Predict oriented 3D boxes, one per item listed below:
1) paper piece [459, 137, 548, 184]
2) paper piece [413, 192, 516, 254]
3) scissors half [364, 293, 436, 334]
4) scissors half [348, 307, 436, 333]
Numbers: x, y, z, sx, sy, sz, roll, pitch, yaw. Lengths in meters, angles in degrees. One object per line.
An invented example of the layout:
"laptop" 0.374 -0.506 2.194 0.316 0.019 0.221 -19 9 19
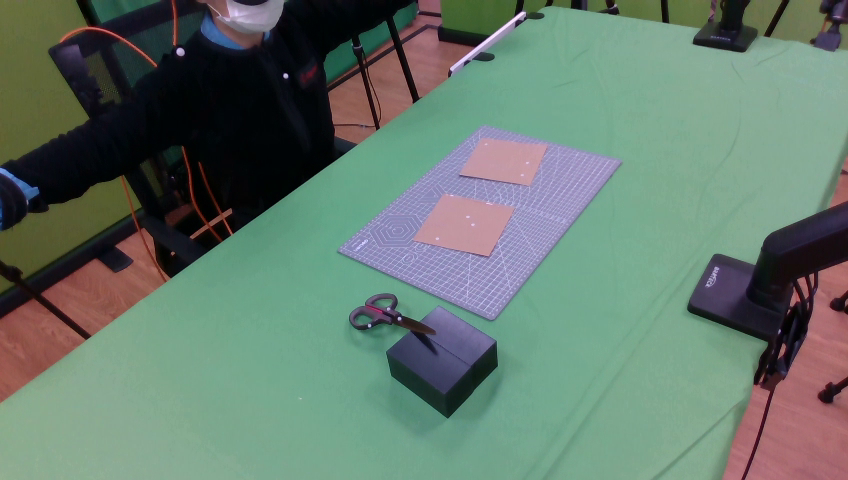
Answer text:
"paper piece" 0.150 -0.152 1.131 0.135 0.009 0.138 15 43 17
"paper piece" 0.068 -0.030 1.000 0.134 0.004 0.136 12 44 23
"scissors half" -0.032 0.100 0.815 0.040 0.013 0.173 -39 28 -19
"scissors half" -0.046 0.111 0.805 0.174 0.013 0.040 0 33 45
